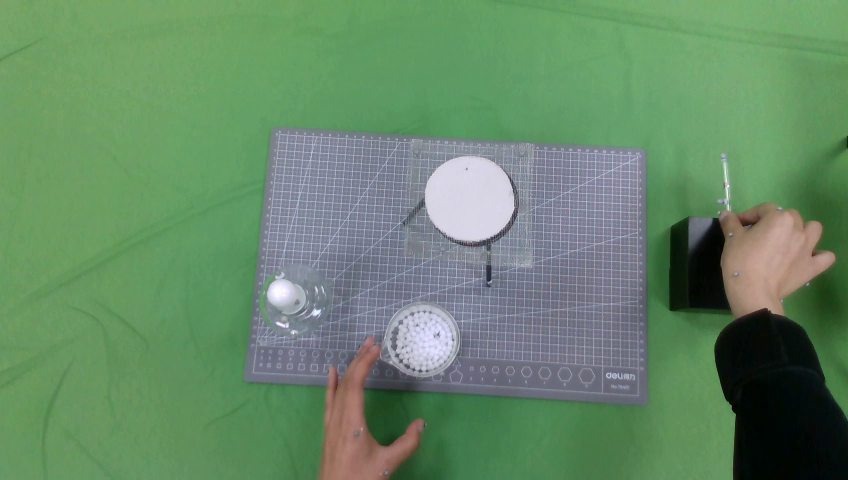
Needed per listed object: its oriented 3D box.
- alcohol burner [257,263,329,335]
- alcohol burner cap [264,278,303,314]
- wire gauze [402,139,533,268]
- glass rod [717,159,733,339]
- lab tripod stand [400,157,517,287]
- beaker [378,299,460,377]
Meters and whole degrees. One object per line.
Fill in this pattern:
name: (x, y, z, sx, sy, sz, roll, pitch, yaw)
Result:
alcohol burner: (-0.141, 0.061, 0.635, 0.078, 0.119, 0.077, 0, 81, -1)
alcohol burner cap: (-0.141, 0.054, 0.600, 0.034, 0.048, 0.033, 0, 74, 2)
wire gauze: (0.043, -0.037, 0.578, 0.125, 0.011, 0.121, 4, 80, 0)
glass rod: (0.328, 0.008, 0.660, 0.008, 0.008, 0.199, 2, 80, 0)
lab tripod stand: (0.046, -0.028, 0.644, 0.148, 0.132, 0.147, 0, 77, 0)
beaker: (-0.007, 0.107, 0.637, 0.084, 0.100, 0.073, -23, 80, -5)
